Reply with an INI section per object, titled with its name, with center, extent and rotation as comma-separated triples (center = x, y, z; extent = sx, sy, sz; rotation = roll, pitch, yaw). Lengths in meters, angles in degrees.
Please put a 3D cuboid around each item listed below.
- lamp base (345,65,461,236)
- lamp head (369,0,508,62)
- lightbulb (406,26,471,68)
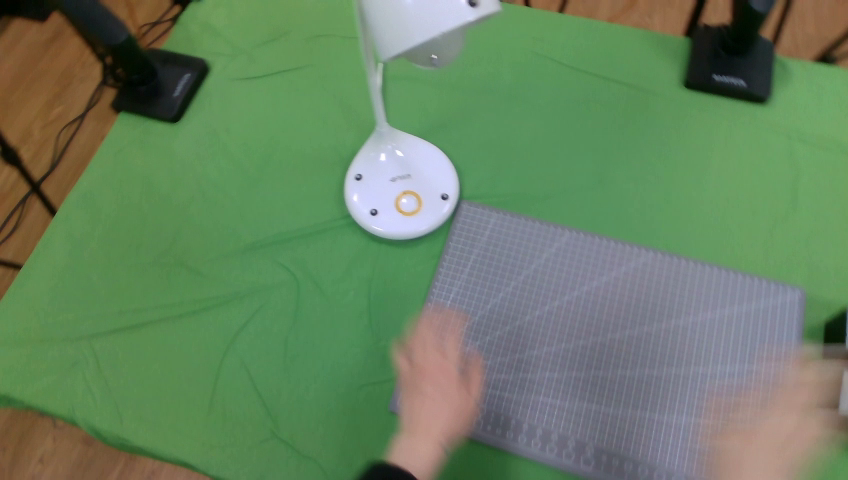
[lamp base]
center = -0.039, -0.120, 0.774
extent = 0.161, 0.182, 0.177
rotation = -23, 63, -8
[lamp head]
center = -0.003, -0.221, 0.499
extent = 0.112, 0.112, 0.123
rotation = -26, 100, -9
[lightbulb]
center = 0.003, -0.197, 0.500
extent = 0.059, 0.059, 0.108
rotation = -20, 106, -6
